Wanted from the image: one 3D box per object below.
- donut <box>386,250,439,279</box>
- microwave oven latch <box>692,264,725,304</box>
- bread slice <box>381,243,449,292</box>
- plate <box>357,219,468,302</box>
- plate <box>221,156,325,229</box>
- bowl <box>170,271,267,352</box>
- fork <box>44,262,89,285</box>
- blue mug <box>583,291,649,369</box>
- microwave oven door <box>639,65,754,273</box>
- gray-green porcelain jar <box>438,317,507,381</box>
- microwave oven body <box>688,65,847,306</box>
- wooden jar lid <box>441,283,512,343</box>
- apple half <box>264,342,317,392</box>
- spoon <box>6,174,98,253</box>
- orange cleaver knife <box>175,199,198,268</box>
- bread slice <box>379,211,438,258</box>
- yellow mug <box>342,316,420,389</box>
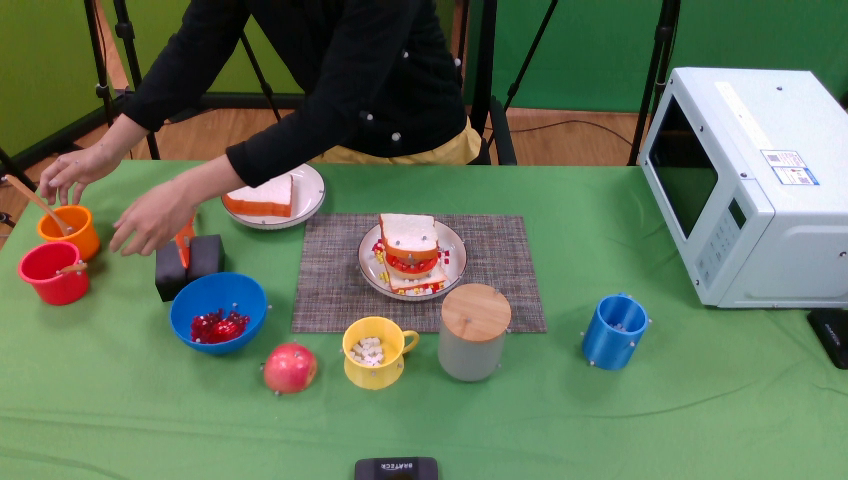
[{"bbox_3d":[-0.021,0.029,1.110,0.099,0.048,0.098,2,47,-1],"label":"donut"},{"bbox_3d":[0.522,0.081,1.116,0.030,0.029,0.078,1,46,-2],"label":"microwave oven latch"},{"bbox_3d":[-0.027,0.039,1.139,0.107,0.018,0.133,-12,46,-16],"label":"bread slice"},{"bbox_3d":[-0.021,0.037,1.141,0.208,0.039,0.206,2,46,-2],"label":"plate"},{"bbox_3d":[-0.308,-0.095,1.251,0.209,0.038,0.208,3,46,-3],"label":"plate"},{"bbox_3d":[-0.333,0.132,1.006,0.151,0.077,0.150,2,46,-2],"label":"bowl"},{"bbox_3d":[-0.598,0.054,1.014,0.207,0.019,0.028,-15,28,45],"label":"fork"},{"bbox_3d":[0.324,0.142,1.023,0.082,0.106,0.116,15,47,11],"label":"blue mug"},{"bbox_3d":[0.522,-0.147,1.192,0.039,0.245,0.353,0,47,-3],"label":"microwave oven door"},{"bbox_3d":[0.076,0.158,0.977,0.106,0.127,0.105,2,46,-2],"label":"gray-green porcelain jar"},{"bbox_3d":[0.669,-0.111,1.176,0.326,0.261,0.439,0,46,-3],"label":"microwave oven body"},{"bbox_3d":[0.080,0.114,0.931,0.108,0.021,0.107,1,49,-1],"label":"wooden jar lid"},{"bbox_3d":[-0.214,0.198,0.970,0.074,0.053,0.080,19,48,11],"label":"apple half"},{"bbox_3d":[-0.678,-0.049,1.106,0.021,0.194,0.041,-21,26,41],"label":"spoon"},{"bbox_3d":[-0.438,-0.017,1.137,0.012,0.077,0.210,-14,27,-7],"label":"orange cleaver knife"},{"bbox_3d":[-0.024,-0.012,1.064,0.105,0.019,0.130,3,33,-10],"label":"bread slice"},{"bbox_3d":[-0.068,0.178,0.991,0.131,0.064,0.099,-16,50,-19],"label":"yellow mug"}]
